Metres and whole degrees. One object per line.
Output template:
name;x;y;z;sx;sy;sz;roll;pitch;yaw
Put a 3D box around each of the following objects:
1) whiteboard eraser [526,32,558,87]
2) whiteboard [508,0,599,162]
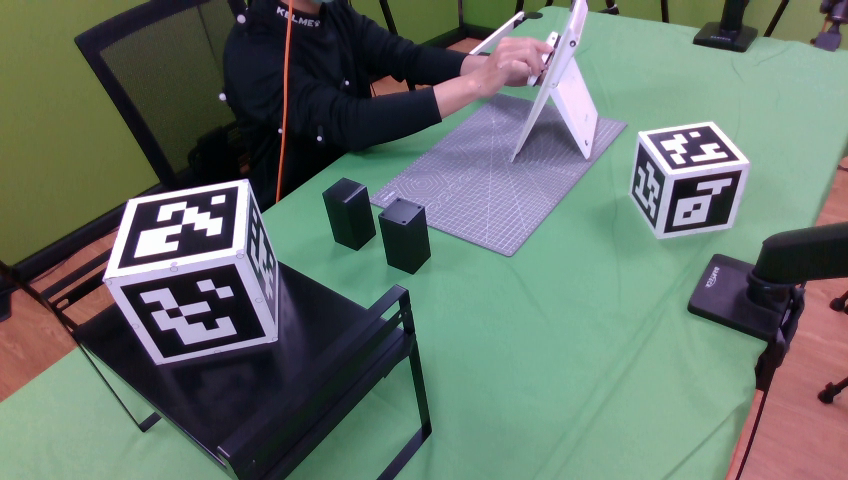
whiteboard eraser;0.218;-0.332;1.113;0.019;0.101;0.041;23;22;-7
whiteboard;0.285;-0.289;1.090;0.144;0.305;0.217;22;45;3
